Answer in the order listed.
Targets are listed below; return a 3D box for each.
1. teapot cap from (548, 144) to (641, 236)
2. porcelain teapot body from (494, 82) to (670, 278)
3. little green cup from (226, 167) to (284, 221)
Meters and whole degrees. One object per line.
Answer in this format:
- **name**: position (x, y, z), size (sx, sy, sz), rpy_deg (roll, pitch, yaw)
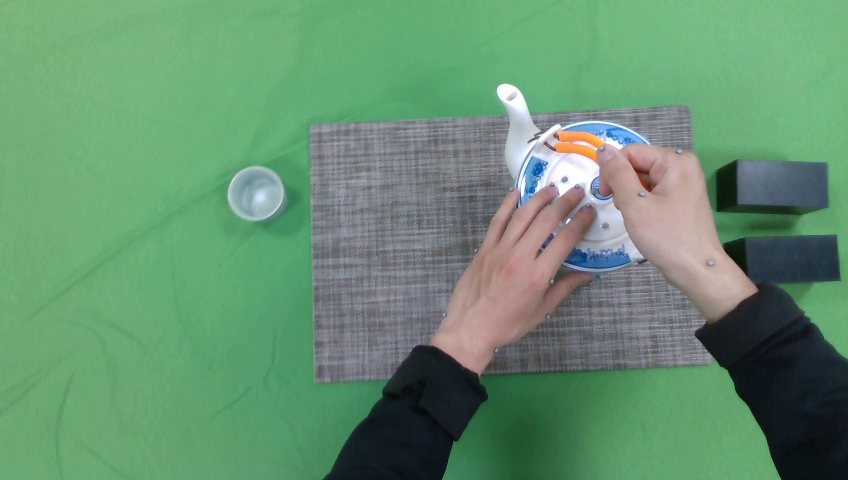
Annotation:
- **teapot cap**: position (0.154, -0.046, 0.543), size (0.085, 0.044, 0.085), rpy_deg (0, 80, 2)
- **porcelain teapot body**: position (0.136, -0.062, 0.585), size (0.145, 0.226, 0.205), rpy_deg (-44, 83, -2)
- **little green cup**: position (-0.191, -0.050, 0.697), size (0.061, 0.039, 0.061), rpy_deg (0, 83, 1)
